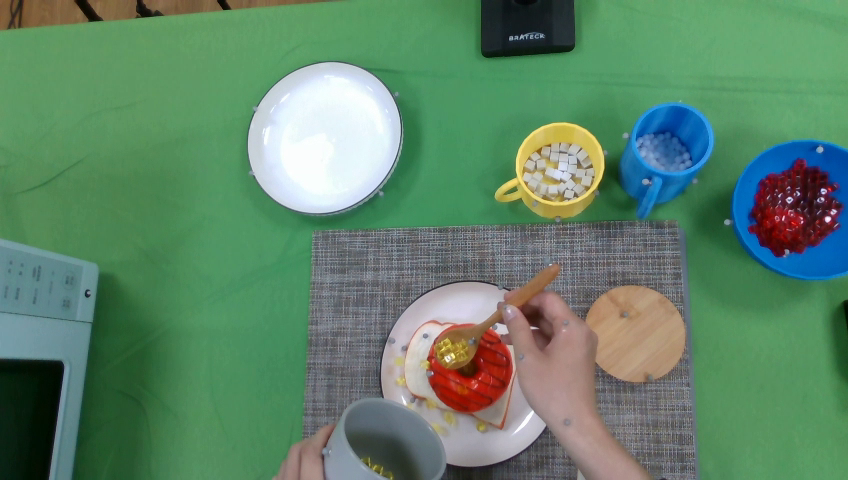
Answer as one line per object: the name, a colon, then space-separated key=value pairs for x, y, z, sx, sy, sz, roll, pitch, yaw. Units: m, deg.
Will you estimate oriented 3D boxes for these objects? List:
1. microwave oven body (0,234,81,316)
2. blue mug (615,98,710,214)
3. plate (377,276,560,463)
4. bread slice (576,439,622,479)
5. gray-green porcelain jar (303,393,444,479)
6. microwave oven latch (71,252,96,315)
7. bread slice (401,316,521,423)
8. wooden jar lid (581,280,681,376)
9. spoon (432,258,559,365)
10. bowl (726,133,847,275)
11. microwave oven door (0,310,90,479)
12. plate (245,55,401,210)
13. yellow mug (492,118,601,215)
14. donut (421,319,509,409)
microwave oven body: x=-0.616 y=0.211 z=0.682 sx=0.325 sy=0.261 sz=0.440 roll=0 pitch=79 yaw=9
blue mug: x=0.258 y=-0.084 z=0.679 sx=0.082 sy=0.106 sz=0.116 roll=19 pitch=83 yaw=13
plate: x=0.051 y=0.146 z=0.699 sx=0.209 sy=0.038 sz=0.208 roll=-2 pitch=79 yaw=9
bread slice: x=0.173 y=0.262 z=0.611 sx=0.018 sy=0.135 sz=0.106 roll=7 pitch=78 yaw=4
gray-green porcelain jar: x=-0.055 y=0.227 z=0.569 sx=0.105 sy=0.106 sz=0.127 roll=34 pitch=112 yaw=14
microwave oven latch: x=-0.449 y=0.056 z=0.784 sx=0.030 sy=0.029 sz=0.079 roll=3 pitch=80 yaw=10
bread slice: x=0.038 y=0.145 z=0.703 sx=0.131 sy=0.019 sz=0.104 roll=12 pitch=81 yaw=10
wooden jar lid: x=0.233 y=0.100 z=0.687 sx=0.108 sy=0.021 sz=0.108 roll=-2 pitch=80 yaw=9
spoon: x=0.066 y=0.073 z=0.587 sx=0.041 sy=0.194 sz=0.021 roll=48 pitch=45 yaw=4
bowl: x=0.400 y=-0.031 z=0.659 sx=0.151 sy=0.077 sz=0.150 roll=-2 pitch=79 yaw=10
microwave oven door: x=-0.475 y=0.251 z=0.646 sx=0.039 sy=0.245 sz=0.354 roll=0 pitch=79 yaw=10
plate: x=-0.129 y=-0.137 z=0.789 sx=0.207 sy=0.039 sz=0.206 roll=-2 pitch=79 yaw=9
yellow mug: x=0.141 y=-0.080 z=0.718 sx=0.131 sy=0.064 sz=0.099 roll=-23 pitch=76 yaw=6
donut: x=0.045 y=0.137 z=0.673 sx=0.099 sy=0.048 sz=0.098 roll=-1 pitch=81 yaw=5
